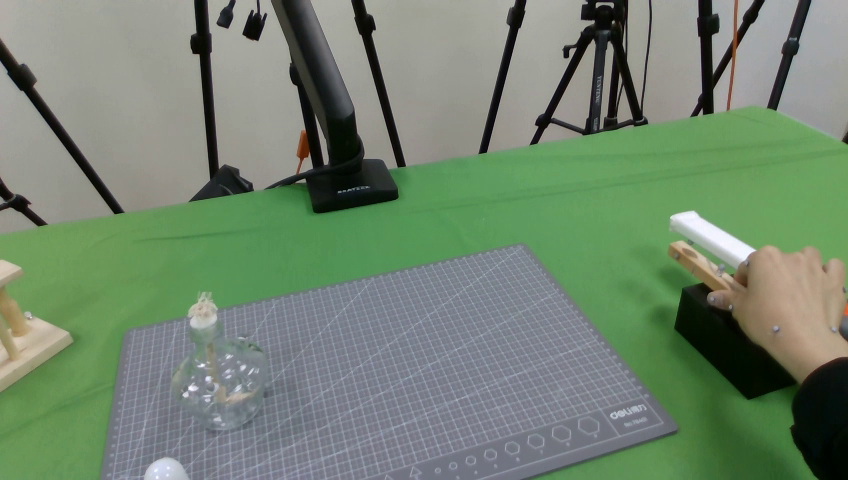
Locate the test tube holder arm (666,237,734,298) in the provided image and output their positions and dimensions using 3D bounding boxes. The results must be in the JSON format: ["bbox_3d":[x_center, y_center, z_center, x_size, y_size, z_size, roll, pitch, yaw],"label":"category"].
[{"bbox_3d":[0.262,0.024,0.572,0.010,0.015,0.087,-26,38,-9],"label":"test tube holder arm"}]

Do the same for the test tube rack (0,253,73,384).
[{"bbox_3d":[-0.448,0.115,0.525,0.066,0.086,0.241,15,38,25],"label":"test tube rack"}]

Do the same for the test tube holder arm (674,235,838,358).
[{"bbox_3d":[0.285,0.044,0.538,0.013,0.015,0.176,-27,38,-11],"label":"test tube holder arm"}]

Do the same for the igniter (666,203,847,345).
[{"bbox_3d":[0.319,0.032,0.549,0.057,0.025,0.273,-13,31,-13],"label":"igniter"}]

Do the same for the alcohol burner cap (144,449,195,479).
[{"bbox_3d":[-0.189,0.175,0.445,0.034,0.048,0.033,-2,34,2],"label":"alcohol burner cap"}]

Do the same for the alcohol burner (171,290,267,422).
[{"bbox_3d":[-0.173,0.092,0.503,0.078,0.120,0.077,-2,32,2],"label":"alcohol burner"}]
